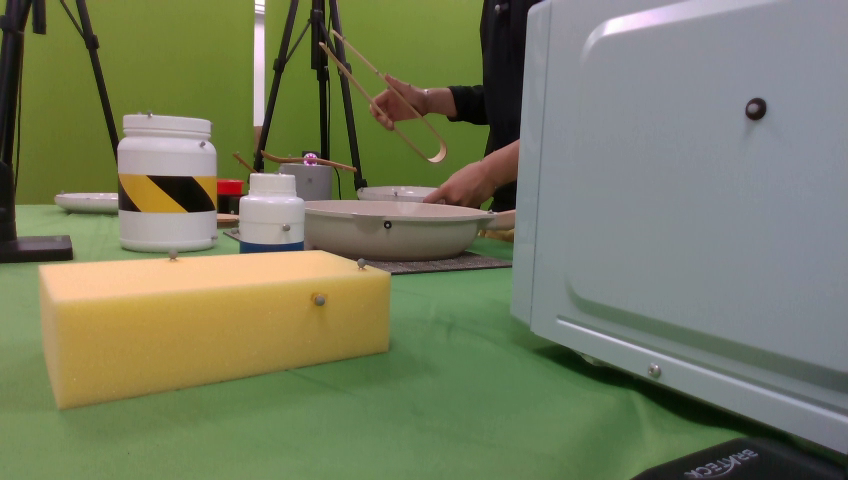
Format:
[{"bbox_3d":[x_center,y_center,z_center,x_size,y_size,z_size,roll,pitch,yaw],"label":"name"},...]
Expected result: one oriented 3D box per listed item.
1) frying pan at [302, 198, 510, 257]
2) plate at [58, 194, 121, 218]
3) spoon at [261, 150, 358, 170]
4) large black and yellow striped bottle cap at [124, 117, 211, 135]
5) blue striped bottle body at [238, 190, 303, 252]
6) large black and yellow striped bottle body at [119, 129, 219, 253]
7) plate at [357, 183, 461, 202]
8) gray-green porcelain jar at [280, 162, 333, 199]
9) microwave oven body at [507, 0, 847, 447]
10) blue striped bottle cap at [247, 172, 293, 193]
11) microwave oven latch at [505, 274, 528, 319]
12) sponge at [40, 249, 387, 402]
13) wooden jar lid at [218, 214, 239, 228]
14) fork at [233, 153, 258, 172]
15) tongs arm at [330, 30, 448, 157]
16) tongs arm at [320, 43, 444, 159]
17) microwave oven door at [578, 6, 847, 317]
[{"bbox_3d":[0.051,-0.035,0.915,0.487,0.102,0.307,-5,7,11],"label":"frying pan"},{"bbox_3d":[-0.671,-0.074,1.310,0.209,0.038,0.209,2,8,0],"label":"plate"},{"bbox_3d":[-0.229,-0.161,1.222,0.194,0.021,0.041,4,4,-16],"label":"spoon"},{"bbox_3d":[-0.366,-0.163,0.866,0.115,0.019,0.115,3,7,0],"label":"large black and yellow striped bottle cap"},{"bbox_3d":[-0.153,-0.007,0.606,0.063,0.120,0.063,2,7,0],"label":"blue striped bottle body"},{"bbox_3d":[-0.367,-0.080,0.876,0.131,0.184,0.130,1,7,0],"label":"large black and yellow striped bottle body"},{"bbox_3d":[-0.030,-0.087,1.209,0.208,0.039,0.207,1,10,0],"label":"plate"},{"bbox_3d":[-0.238,-0.092,1.221,0.106,0.126,0.106,2,7,0],"label":"gray-green porcelain jar"},{"bbox_3d":[0.331,-0.042,0.425,0.444,0.260,0.324,-2,8,-31],"label":"microwave oven body"},{"bbox_3d":[-0.152,-0.057,0.598,0.044,0.020,0.044,3,7,0],"label":"blue striped bottle cap"},{"bbox_3d":[0.100,0.041,0.471,0.079,0.029,0.030,-1,8,-28],"label":"microwave oven latch"},{"bbox_3d":[-0.142,0.047,0.419,0.208,0.061,0.117,-3,8,-36],"label":"sponge"},{"bbox_3d":[-0.404,-0.037,1.169,0.108,0.020,0.108,3,7,0],"label":"wooden jar lid"},{"bbox_3d":[-0.396,-0.143,1.486,0.028,0.018,0.208,20,-26,45],"label":"fork"},{"bbox_3d":[-0.066,-0.300,1.283,0.387,0.051,0.026,34,0,-40],"label":"tongs arm"},{"bbox_3d":[-0.081,-0.282,1.282,0.389,0.028,0.027,40,-7,-40],"label":"tongs arm"},{"bbox_3d":[0.294,-0.067,0.570,0.358,0.243,0.039,-3,9,-31],"label":"microwave oven door"}]
